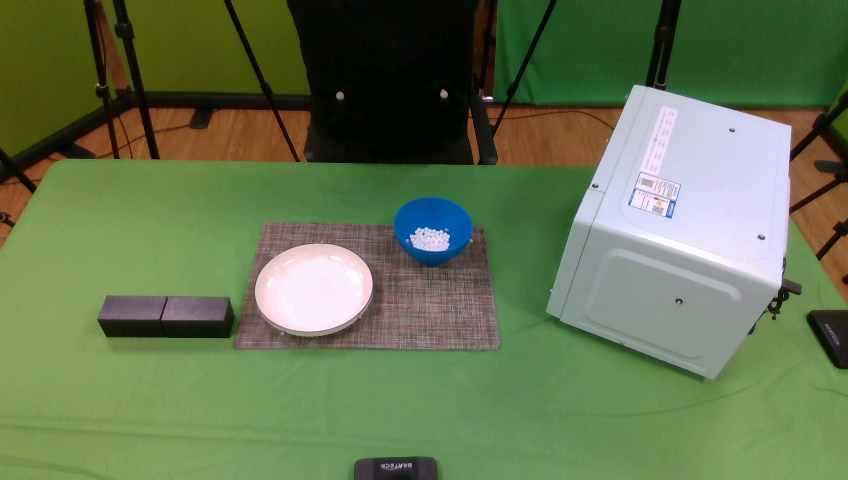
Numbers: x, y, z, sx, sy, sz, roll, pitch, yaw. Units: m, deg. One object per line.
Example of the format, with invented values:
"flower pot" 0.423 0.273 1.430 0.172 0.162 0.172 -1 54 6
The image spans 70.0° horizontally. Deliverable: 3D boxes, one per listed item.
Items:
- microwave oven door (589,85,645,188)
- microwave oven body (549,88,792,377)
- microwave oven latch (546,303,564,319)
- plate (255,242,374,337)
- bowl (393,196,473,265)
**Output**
"microwave oven door" 0.342 -0.107 1.149 0.039 0.245 0.354 20 48 15
"microwave oven body" 0.456 -0.028 1.088 0.325 0.261 0.440 20 47 16
"microwave oven latch" 0.242 0.102 1.081 0.030 0.029 0.079 21 48 17
"plate" -0.192 0.090 1.080 0.208 0.039 0.206 2 46 -2
"bowl" 0.014 -0.006 1.159 0.151 0.077 0.150 2 46 -2
